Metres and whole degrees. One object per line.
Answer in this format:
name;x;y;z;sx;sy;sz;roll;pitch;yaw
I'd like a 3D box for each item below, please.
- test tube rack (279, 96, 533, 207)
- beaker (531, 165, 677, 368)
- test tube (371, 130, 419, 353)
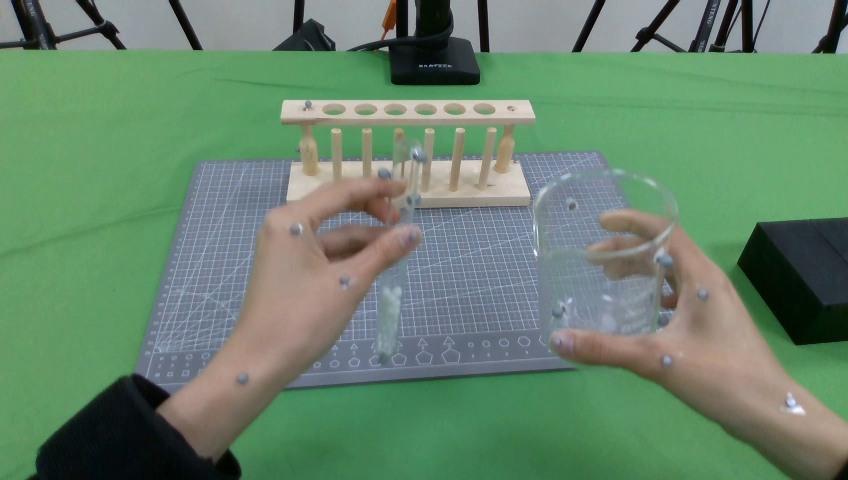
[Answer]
test tube rack;-0.017;-0.088;0.601;0.243;0.086;0.066;-1;43;-6
beaker;0.098;0.020;0.351;0.084;0.101;0.073;-28;43;-20
test tube;-0.019;0.007;0.362;0.017;0.151;0.017;6;30;-3
